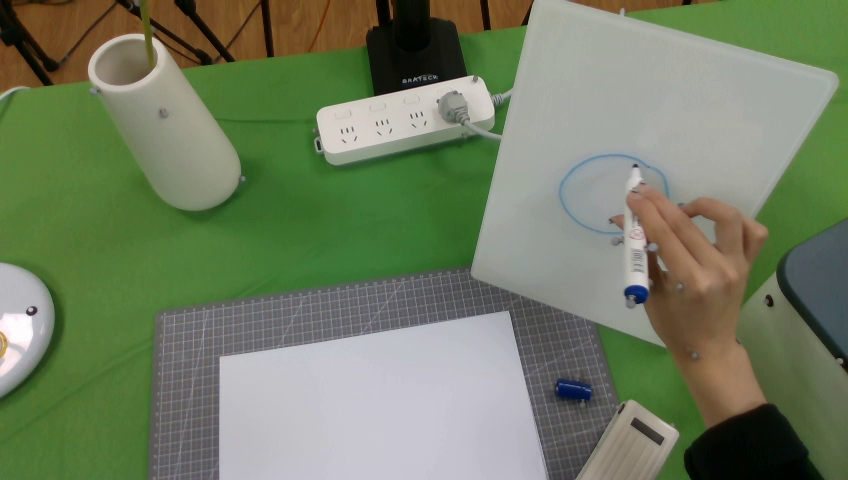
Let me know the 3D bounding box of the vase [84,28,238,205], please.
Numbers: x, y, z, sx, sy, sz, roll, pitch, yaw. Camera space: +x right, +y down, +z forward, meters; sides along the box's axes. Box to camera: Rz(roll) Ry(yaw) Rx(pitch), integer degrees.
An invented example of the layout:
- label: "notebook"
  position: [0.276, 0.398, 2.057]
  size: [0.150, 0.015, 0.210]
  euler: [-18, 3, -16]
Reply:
- label: "vase"
  position: [-0.264, -0.119, 0.622]
  size: [0.098, 0.201, 0.097]
  euler: [-1, 63, 2]

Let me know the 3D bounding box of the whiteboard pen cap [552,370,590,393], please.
- label: "whiteboard pen cap"
  position: [0.142, 0.138, 0.588]
  size: [0.033, 0.018, 0.018]
  euler: [10, 64, 3]

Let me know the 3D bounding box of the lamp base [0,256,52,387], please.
- label: "lamp base"
  position: [-0.478, 0.049, 0.553]
  size: [0.178, 0.182, 0.160]
  euler: [21, 65, 15]

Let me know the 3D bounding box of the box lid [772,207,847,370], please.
- label: "box lid"
  position: [0.466, 0.101, 0.439]
  size: [0.263, 0.015, 0.368]
  euler: [-25, 66, -10]

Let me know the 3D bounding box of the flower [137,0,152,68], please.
- label: "flower"
  position: [-0.245, -0.151, 0.547]
  size: [0.038, 0.362, 0.044]
  euler: [40, 61, 0]

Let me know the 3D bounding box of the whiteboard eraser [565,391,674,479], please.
- label: "whiteboard eraser"
  position: [0.173, 0.196, 0.545]
  size: [0.055, 0.042, 0.112]
  euler: [34, 69, 17]

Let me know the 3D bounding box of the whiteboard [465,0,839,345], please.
- label: "whiteboard"
  position: [0.186, -0.079, 0.571]
  size: [0.216, 0.308, 0.143]
  euler: [20, 45, 11]

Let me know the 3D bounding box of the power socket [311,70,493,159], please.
- label: "power socket"
  position: [-0.025, -0.151, 0.727]
  size: [0.227, 0.033, 0.071]
  euler: [-13, 65, -6]

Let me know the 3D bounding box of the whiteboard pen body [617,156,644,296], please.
- label: "whiteboard pen body"
  position: [0.150, -0.017, 0.441]
  size: [0.017, 0.017, 0.139]
  euler: [10, 49, 7]

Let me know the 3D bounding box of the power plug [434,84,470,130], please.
- label: "power plug"
  position: [0.031, -0.147, 0.699]
  size: [0.035, 0.053, 0.072]
  euler: [-4, 70, -1]

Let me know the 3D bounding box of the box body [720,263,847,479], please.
- label: "box body"
  position: [0.469, 0.137, 0.505]
  size: [0.254, 0.161, 0.361]
  euler: [-25, 66, -11]
